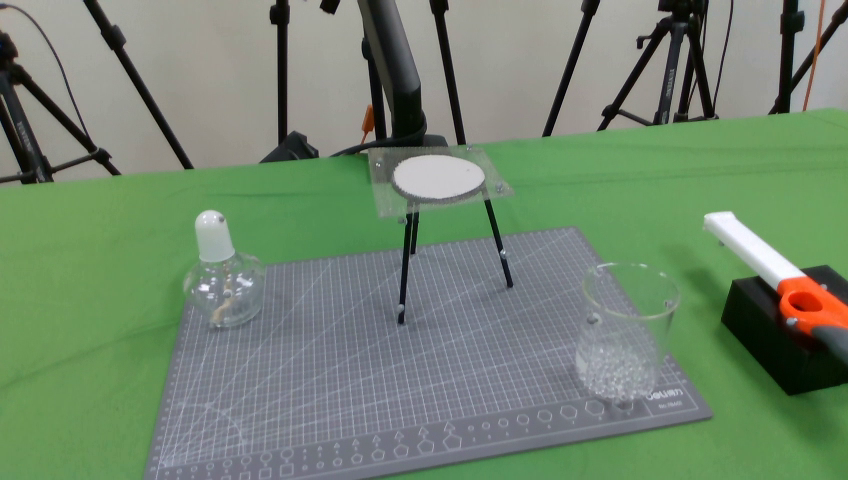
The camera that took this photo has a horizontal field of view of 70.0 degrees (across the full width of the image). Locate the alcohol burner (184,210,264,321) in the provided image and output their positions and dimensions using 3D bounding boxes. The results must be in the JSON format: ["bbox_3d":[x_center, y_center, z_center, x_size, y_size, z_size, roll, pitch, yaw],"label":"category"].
[{"bbox_3d":[-0.197,0.019,0.587,0.078,0.120,0.077,0,36,1],"label":"alcohol burner"}]

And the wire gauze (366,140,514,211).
[{"bbox_3d":[0.010,-0.067,0.565,0.122,0.011,0.123,-6,35,-8],"label":"wire gauze"}]

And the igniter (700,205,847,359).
[{"bbox_3d":[0.326,0.040,0.529,0.057,0.025,0.273,-7,31,-5],"label":"igniter"}]

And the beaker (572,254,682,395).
[{"bbox_3d":[0.162,0.072,0.505,0.074,0.101,0.083,-17,37,-21],"label":"beaker"}]

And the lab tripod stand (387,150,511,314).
[{"bbox_3d":[0.017,-0.014,0.607,0.148,0.132,0.147,0,33,1],"label":"lab tripod stand"}]

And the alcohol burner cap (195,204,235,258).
[{"bbox_3d":[-0.198,-0.011,0.568,0.034,0.048,0.033,0,29,0],"label":"alcohol burner cap"}]
